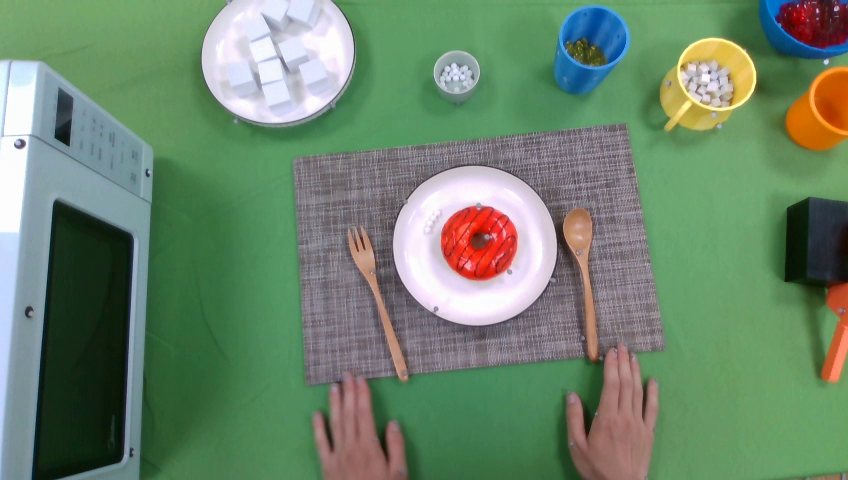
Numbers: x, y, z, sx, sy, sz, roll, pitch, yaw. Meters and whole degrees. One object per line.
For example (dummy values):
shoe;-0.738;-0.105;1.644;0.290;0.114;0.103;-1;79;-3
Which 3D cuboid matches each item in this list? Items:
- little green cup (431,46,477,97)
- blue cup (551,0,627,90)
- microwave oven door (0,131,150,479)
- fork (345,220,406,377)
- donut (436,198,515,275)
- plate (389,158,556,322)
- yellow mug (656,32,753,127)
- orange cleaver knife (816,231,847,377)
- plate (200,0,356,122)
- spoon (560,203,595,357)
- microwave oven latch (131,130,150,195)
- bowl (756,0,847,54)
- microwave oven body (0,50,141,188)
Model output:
little green cup;0.040;-0.224;0.812;0.061;0.039;0.061;0;78;2
blue cup;0.203;-0.242;0.780;0.092;0.100;0.092;0;80;1
microwave oven door;-0.367;0.095;0.638;0.039;0.245;0.354;-3;79;1
fork;-0.060;0.073;0.763;0.028;0.018;0.206;-16;78;-18
donut;0.064;-0.004;0.754;0.099;0.048;0.098;-1;81;3
plate;0.060;0.001;0.765;0.209;0.038;0.208;0;79;2
yellow mug;0.352;-0.197;0.785;0.099;0.064;0.131;42;84;9
orange cleaver knife;0.502;0.061;0.724;0.012;0.077;0.212;9;109;6
plate;-0.195;-0.255;0.824;0.207;0.039;0.206;0;79;1
spoon;0.198;0.049;0.760;0.042;0.021;0.193;0;78;-23
microwave oven latch;-0.371;-0.099;0.779;0.030;0.029;0.079;-1;80;1
bowl;0.502;-0.304;0.796;0.151;0.077;0.151;0;80;2
microwave oven body;-0.515;0.062;0.653;0.326;0.261;0.439;-3;80;0
